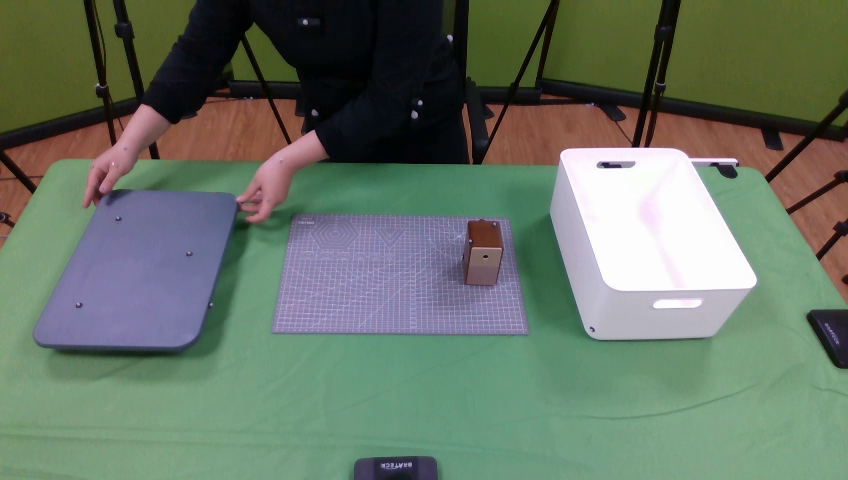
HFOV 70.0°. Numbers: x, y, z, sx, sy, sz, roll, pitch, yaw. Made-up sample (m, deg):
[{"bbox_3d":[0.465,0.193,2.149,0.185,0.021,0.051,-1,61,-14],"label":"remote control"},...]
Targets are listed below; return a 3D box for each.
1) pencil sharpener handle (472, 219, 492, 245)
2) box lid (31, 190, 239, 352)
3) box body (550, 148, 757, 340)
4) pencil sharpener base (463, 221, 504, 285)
[{"bbox_3d":[0.105,-0.021,1.146,0.036,0.068,0.030,6,44,-8],"label":"pencil sharpener handle"},{"bbox_3d":[-0.491,0.040,1.070,0.263,0.015,0.369,1,46,-3],"label":"box lid"},{"bbox_3d":[0.395,0.003,1.127,0.254,0.161,0.361,-1,46,-5],"label":"box body"},{"bbox_3d":[0.107,0.023,1.119,0.061,0.107,0.076,1,45,-2],"label":"pencil sharpener base"}]
